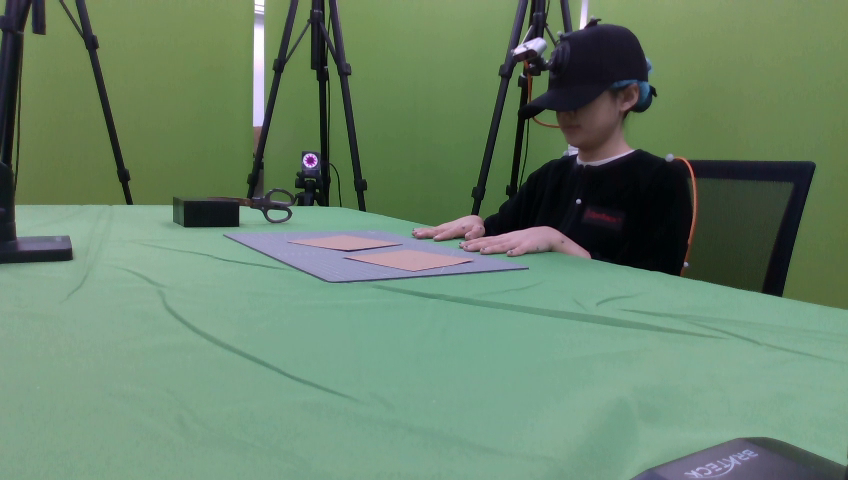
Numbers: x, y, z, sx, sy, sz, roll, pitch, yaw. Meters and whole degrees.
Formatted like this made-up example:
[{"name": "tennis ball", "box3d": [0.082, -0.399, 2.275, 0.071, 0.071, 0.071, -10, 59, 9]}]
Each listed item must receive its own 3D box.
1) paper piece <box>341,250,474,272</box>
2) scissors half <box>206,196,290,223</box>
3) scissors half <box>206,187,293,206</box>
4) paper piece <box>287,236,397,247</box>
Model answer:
[{"name": "paper piece", "box3d": [-0.023, 0.027, 0.848, 0.135, 0.004, 0.136, 8, 9, 39]}, {"name": "scissors half", "box3d": [-0.356, -0.066, 1.233, 0.176, 0.040, 0.013, 14, 8, -35]}, {"name": "scissors half", "box3d": [-0.352, -0.086, 1.228, 0.176, 0.040, 0.012, -6, 24, -31]}, {"name": "paper piece", "box3d": [-0.130, 0.004, 0.986, 0.137, 0.008, 0.137, 7, 4, 35]}]
